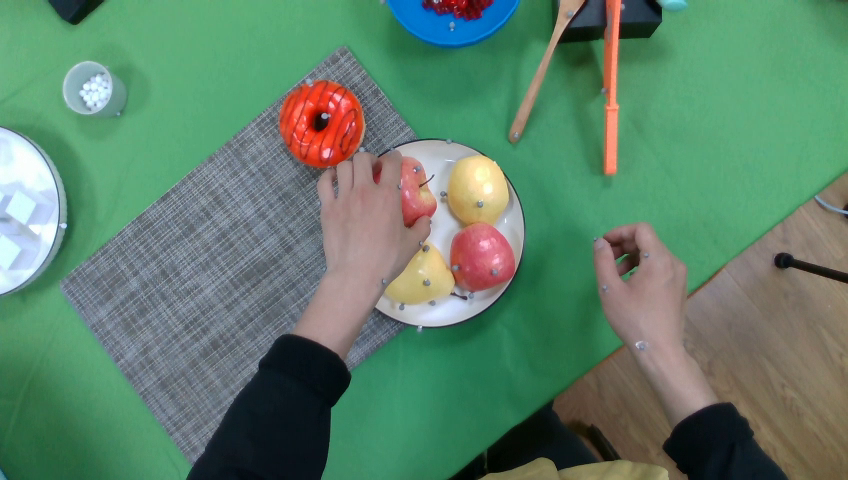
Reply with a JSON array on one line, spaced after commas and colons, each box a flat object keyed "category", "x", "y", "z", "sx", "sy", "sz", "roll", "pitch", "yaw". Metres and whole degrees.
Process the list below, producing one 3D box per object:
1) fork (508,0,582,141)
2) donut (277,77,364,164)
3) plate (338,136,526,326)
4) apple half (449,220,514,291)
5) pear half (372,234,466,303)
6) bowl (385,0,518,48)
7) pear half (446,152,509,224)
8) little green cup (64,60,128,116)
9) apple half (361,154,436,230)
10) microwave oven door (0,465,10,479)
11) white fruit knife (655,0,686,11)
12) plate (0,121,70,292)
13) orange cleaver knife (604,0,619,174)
[{"category": "fork", "x": 0.132, "y": -0.201, "z": 0.643, "sx": 0.028, "sy": 0.018, "sz": 0.208, "roll": 20, "pitch": 112, "yaw": -3}, {"category": "donut", "x": -0.117, "y": -0.134, "z": 0.684, "sx": 0.099, "sy": 0.048, "sz": 0.099, "roll": 0, "pitch": 93, "yaw": 7}, {"category": "plate", "x": 0.009, "y": -0.010, "z": 0.677, "sx": 0.209, "sy": 0.038, "sz": 0.209, "roll": 0, "pitch": 90, "yaw": 5}, {"category": "apple half", "x": 0.055, "y": 0.019, "z": 0.654, "sx": 0.081, "sy": 0.033, "sz": 0.081, "roll": 6, "pitch": 105, "yaw": 26}, {"category": "pear half", "x": -0.001, "y": 0.039, "z": 0.664, "sx": 0.110, "sy": 0.056, "sz": 0.076, "roll": 25, "pitch": 97, "yaw": -1}, {"category": "bowl", "x": 0.032, "y": -0.275, "z": 0.657, "sx": 0.151, "sy": 0.077, "sz": 0.151, "roll": 0, "pitch": 91, "yaw": 5}, {"category": "pear half", "x": 0.054, "y": -0.050, "z": 0.657, "sx": 0.070, "sy": 0.031, "sz": 0.088, "roll": -4, "pitch": 103, "yaw": 30}, {"category": "little green cup", "x": -0.385, "y": -0.177, "z": 0.716, "sx": 0.061, "sy": 0.038, "sz": 0.061, "roll": 0, "pitch": 90, "yaw": 6}, {"category": "apple half", "x": -0.034, "y": -0.048, "z": 0.651, "sx": 0.074, "sy": 0.053, "sz": 0.081, "roll": -12, "pitch": 99, "yaw": 34}, {"category": "microwave oven door", "x": -0.478, "y": 0.355, "z": 0.607, "sx": 0.039, "sy": 0.244, "sz": 0.355, "roll": -36, "pitch": 87, "yaw": 4}, {"category": "white fruit knife", "x": 0.196, "y": -0.316, "z": 0.623, "sx": 0.027, "sy": 0.016, "sz": 0.207, "roll": -35, "pitch": 85, "yaw": -25}, {"category": "plate", "x": -0.520, "y": -0.039, "z": 0.729, "sx": 0.207, "sy": 0.039, "sz": 0.207, "roll": 0, "pitch": 90, "yaw": 5}, {"category": "orange cleaver knife", "x": 0.196, "y": -0.177, "z": 0.640, "sx": 0.012, "sy": 0.076, "sz": 0.213, "roll": -2, "pitch": 116, "yaw": 10}]
